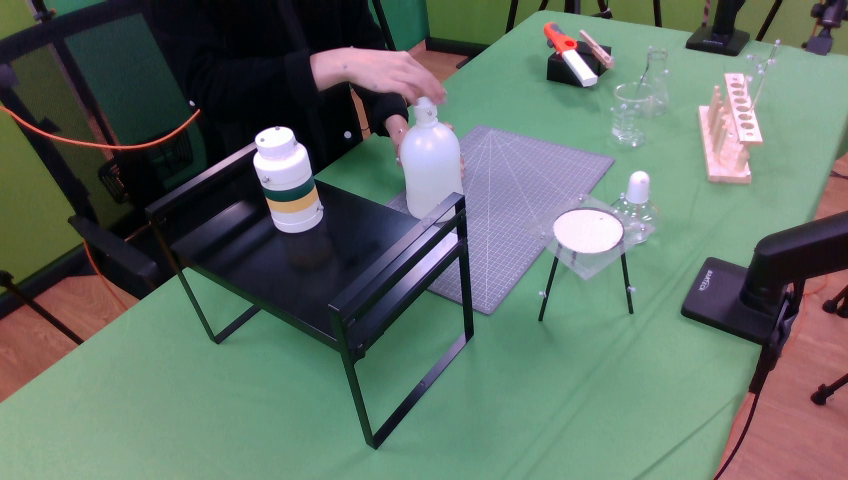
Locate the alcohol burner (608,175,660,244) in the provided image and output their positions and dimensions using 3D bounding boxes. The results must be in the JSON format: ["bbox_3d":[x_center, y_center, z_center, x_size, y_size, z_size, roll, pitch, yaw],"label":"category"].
[{"bbox_3d":[0.322,-0.053,0.924,0.078,0.119,0.077,-4,43,4],"label":"alcohol burner"}]

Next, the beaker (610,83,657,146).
[{"bbox_3d":[0.388,-0.235,1.138,0.074,0.101,0.083,-31,45,-25],"label":"beaker"}]

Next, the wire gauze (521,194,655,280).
[{"bbox_3d":[0.207,-0.012,0.772,0.122,0.011,0.124,-28,44,-20],"label":"wire gauze"}]

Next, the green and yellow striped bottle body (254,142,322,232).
[{"bbox_3d":[-0.165,-0.073,0.732,0.063,0.120,0.063,-4,41,4],"label":"green and yellow striped bottle body"}]

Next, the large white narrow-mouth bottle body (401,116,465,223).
[{"bbox_3d":[0.013,-0.130,0.991,0.102,0.195,0.101,-5,39,5],"label":"large white narrow-mouth bottle body"}]

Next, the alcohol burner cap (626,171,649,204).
[{"bbox_3d":[0.320,-0.081,0.900,0.034,0.048,0.033,-4,42,4],"label":"alcohol burner cap"}]

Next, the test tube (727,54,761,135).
[{"bbox_3d":[0.564,-0.254,1.069,0.017,0.151,0.017,-1,40,1],"label":"test tube"}]

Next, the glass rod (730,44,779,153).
[{"bbox_3d":[0.555,-0.234,1.021,0.008,0.200,0.008,2,40,-1],"label":"glass rod"}]

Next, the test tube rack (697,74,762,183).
[{"bbox_3d":[0.547,-0.208,1.095,0.066,0.085,0.242,5,42,15],"label":"test tube rack"}]

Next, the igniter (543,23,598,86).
[{"bbox_3d":[0.320,-0.419,1.345,0.057,0.025,0.274,-12,44,-3],"label":"igniter"}]

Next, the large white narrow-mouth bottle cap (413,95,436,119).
[{"bbox_3d":[0.001,-0.204,0.932,0.038,0.024,0.037,-5,39,4],"label":"large white narrow-mouth bottle cap"}]

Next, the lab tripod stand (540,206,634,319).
[{"bbox_3d":[0.218,0.034,0.821,0.148,0.132,0.147,-4,42,4],"label":"lab tripod stand"}]

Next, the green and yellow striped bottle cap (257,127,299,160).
[{"bbox_3d":[-0.169,-0.112,0.698,0.045,0.020,0.045,-5,40,5],"label":"green and yellow striped bottle cap"}]

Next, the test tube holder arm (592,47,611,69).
[{"bbox_3d":[0.385,-0.398,1.317,0.010,0.015,0.087,-11,41,-2],"label":"test tube holder arm"}]

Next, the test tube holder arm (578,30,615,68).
[{"bbox_3d":[0.383,-0.428,1.351,0.013,0.015,0.177,-12,42,-3],"label":"test tube holder arm"}]

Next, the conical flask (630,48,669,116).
[{"bbox_3d":[0.457,-0.317,1.205,0.075,0.122,0.075,-4,41,4],"label":"conical flask"}]
